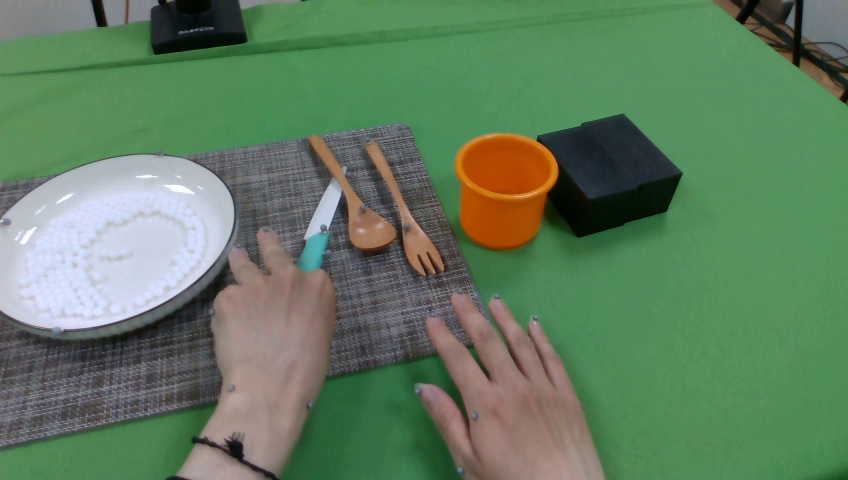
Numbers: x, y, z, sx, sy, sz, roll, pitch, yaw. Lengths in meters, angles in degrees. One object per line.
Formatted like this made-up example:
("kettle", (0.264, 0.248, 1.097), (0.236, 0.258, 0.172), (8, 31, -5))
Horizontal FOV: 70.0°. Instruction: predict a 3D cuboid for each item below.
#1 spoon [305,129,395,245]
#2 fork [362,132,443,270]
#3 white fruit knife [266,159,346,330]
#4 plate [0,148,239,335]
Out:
("spoon", (-0.080, -0.058, 0.594), (0.042, 0.022, 0.191), (-23, 53, -15))
("fork", (-0.027, -0.044, 0.587), (0.028, 0.019, 0.205), (-19, 53, -9))
("white fruit knife", (-0.099, -0.006, 0.551), (0.027, 0.016, 0.205), (-5, 47, 19))
("plate", (-0.266, -0.001, 0.531), (0.209, 0.038, 0.207), (1, 48, 0))
